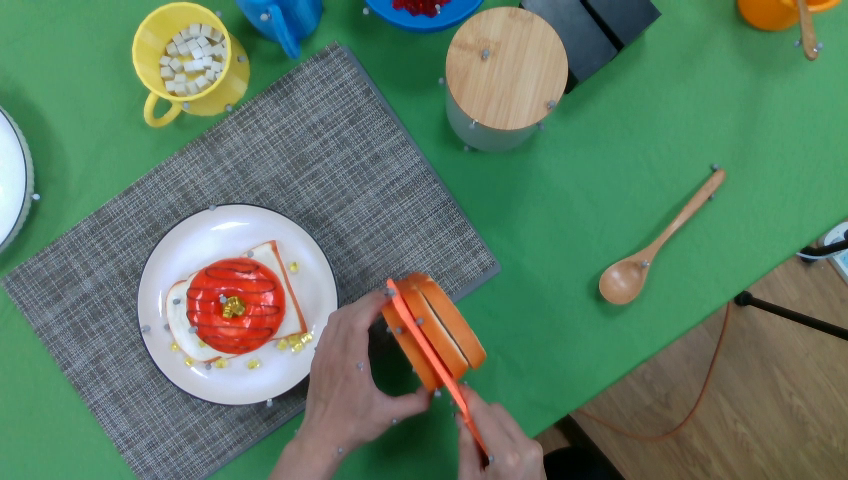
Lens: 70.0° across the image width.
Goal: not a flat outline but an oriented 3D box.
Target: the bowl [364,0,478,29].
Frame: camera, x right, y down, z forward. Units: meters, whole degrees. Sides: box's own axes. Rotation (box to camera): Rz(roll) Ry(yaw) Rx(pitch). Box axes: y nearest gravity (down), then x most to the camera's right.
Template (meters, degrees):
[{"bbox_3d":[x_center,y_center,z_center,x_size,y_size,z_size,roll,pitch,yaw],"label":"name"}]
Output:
[{"bbox_3d":[-0.002,-0.283,0.626,0.151,0.077,0.151,0,90,0],"label":"bowl"}]

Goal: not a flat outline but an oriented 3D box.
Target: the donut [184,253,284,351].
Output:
[{"bbox_3d":[-0.190,0.062,0.609,0.099,0.048,0.099,0,90,-4],"label":"donut"}]

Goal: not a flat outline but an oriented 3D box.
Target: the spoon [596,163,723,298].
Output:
[{"bbox_3d":[0.257,-0.012,0.651,0.041,0.022,0.193,43,90,19],"label":"spoon"}]

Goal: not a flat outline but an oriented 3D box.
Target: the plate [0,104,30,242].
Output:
[{"bbox_3d":[-0.517,-0.070,0.642,0.208,0.039,0.207,0,89,0],"label":"plate"}]

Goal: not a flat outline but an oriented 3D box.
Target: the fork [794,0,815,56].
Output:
[{"bbox_3d":[0.360,-0.234,0.590,0.028,0.019,0.206,27,45,-6],"label":"fork"}]

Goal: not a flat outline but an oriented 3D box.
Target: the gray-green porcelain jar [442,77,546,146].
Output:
[{"bbox_3d":[0.071,-0.152,0.600,0.106,0.126,0.105,0,89,0],"label":"gray-green porcelain jar"}]

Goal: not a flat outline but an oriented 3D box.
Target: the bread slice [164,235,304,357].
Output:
[{"bbox_3d":[-0.205,0.066,0.641,0.131,0.019,0.105,-23,88,-4],"label":"bread slice"}]

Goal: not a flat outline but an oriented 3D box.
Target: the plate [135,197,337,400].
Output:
[{"bbox_3d":[-0.192,0.060,0.637,0.209,0.038,0.209,0,89,0],"label":"plate"}]

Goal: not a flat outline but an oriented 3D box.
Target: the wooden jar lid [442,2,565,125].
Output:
[{"bbox_3d":[0.070,-0.154,0.538,0.108,0.020,0.108,0,90,-3],"label":"wooden jar lid"}]

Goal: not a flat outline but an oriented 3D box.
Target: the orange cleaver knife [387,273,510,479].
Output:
[{"bbox_3d":[0.021,0.123,0.553,0.012,0.077,0.212,-30,99,4],"label":"orange cleaver knife"}]

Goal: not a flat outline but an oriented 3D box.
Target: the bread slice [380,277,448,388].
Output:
[{"bbox_3d":[-0.009,0.088,0.596,0.018,0.134,0.107,-30,88,5],"label":"bread slice"}]

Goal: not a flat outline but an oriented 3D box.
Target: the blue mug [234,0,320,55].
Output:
[{"bbox_3d":[-0.151,-0.246,0.612,0.082,0.106,0.116,-15,89,0],"label":"blue mug"}]

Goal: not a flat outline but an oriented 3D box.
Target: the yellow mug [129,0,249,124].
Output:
[{"bbox_3d":[-0.250,-0.176,0.630,0.100,0.064,0.131,33,90,1],"label":"yellow mug"}]
